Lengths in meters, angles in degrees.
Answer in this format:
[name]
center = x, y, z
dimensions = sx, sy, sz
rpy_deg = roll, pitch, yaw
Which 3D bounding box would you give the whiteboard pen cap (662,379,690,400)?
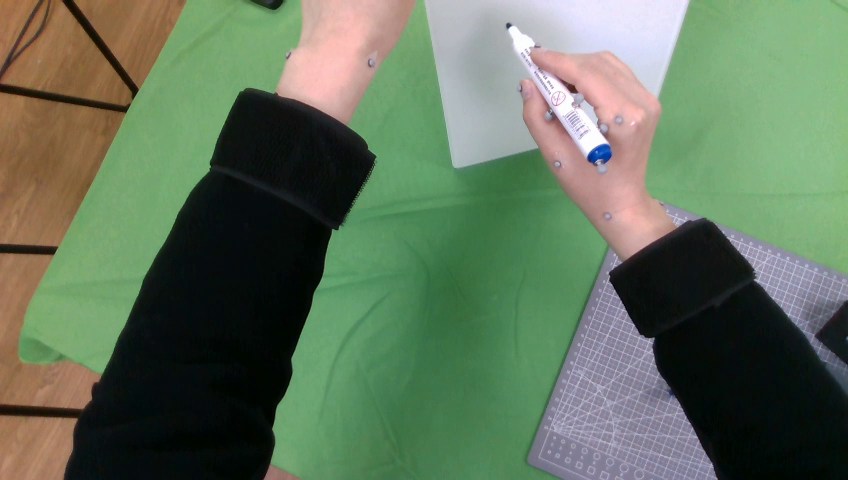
[whiteboard pen cap]
center = 0.249, 0.147, 0.601
dimensions = 0.018, 0.033, 0.018
rpy_deg = 0, 87, 1

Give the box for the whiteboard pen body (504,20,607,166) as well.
[whiteboard pen body]
center = 0.082, -0.103, 0.401
dimensions = 0.017, 0.017, 0.139
rpy_deg = -23, 59, 0

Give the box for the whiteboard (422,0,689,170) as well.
[whiteboard]
center = 0.101, -0.225, 0.536
dimensions = 0.217, 0.308, 0.142
rpy_deg = -13, 65, 2
